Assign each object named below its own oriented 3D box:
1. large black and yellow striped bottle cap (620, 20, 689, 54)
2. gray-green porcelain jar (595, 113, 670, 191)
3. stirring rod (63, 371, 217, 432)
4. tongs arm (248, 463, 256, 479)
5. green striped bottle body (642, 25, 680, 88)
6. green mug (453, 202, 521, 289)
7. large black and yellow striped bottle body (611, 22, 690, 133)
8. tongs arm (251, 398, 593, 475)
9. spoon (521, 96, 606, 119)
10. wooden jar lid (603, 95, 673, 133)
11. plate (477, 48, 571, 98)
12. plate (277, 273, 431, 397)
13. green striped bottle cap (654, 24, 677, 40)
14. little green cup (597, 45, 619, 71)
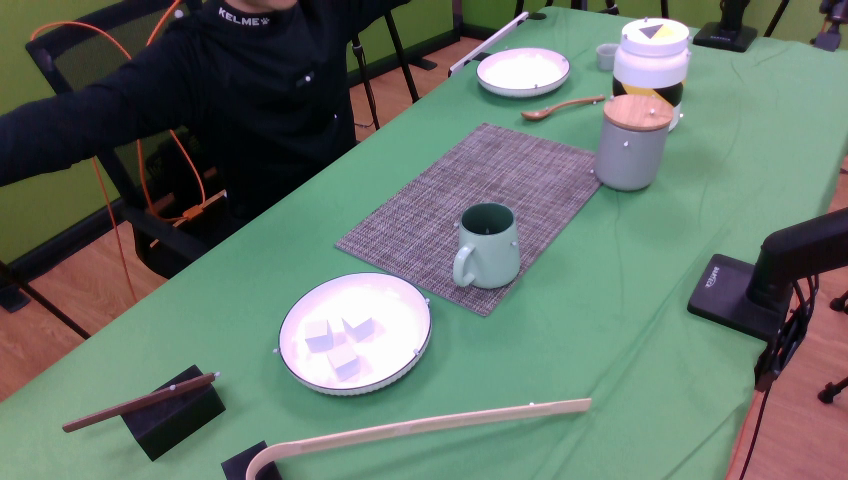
[{"bbox_3d":[0.411,-0.363,1.080,0.115,0.019,0.114,-4,42,4],"label":"large black and yellow striped bottle cap"},{"bbox_3d":[0.346,-0.155,1.017,0.106,0.127,0.105,-2,44,2],"label":"gray-green porcelain jar"},{"bbox_3d":[-0.337,0.192,0.723,0.177,0.014,0.005,-18,42,-12],"label":"stirring rod"},{"bbox_3d":[0.012,0.262,0.615,0.385,0.026,0.050,2,42,-2],"label":"tongs arm"},{"bbox_3d":[0.499,-0.387,1.271,0.063,0.120,0.063,-4,41,4],"label":"green striped bottle body"},{"bbox_3d":[0.084,0.019,0.867,0.092,0.105,0.125,23,49,30],"label":"green mug"},{"bbox_3d":[0.420,-0.300,1.132,0.131,0.185,0.130,-4,41,4],"label":"large black and yellow striped bottle body"},{"bbox_3d":[0.008,0.212,0.675,0.389,0.028,0.028,-5,46,-11],"label":"tongs arm"},{"bbox_3d":[0.291,-0.277,1.249,0.194,0.022,0.041,-18,23,-11],"label":"spoon"},{"bbox_3d":[0.343,-0.200,0.974,0.108,0.021,0.108,-2,39,2],"label":"wooden jar lid"},{"bbox_3d":[0.223,-0.371,1.357,0.209,0.038,0.208,-4,41,4],"label":"plate"},{"bbox_3d":[-0.092,0.129,0.821,0.207,0.039,0.206,-4,40,4],"label":"plate"},{"bbox_3d":[0.495,-0.426,1.237,0.044,0.020,0.044,-5,41,5],"label":"green striped bottle cap"},{"bbox_3d":[0.423,-0.413,1.376,0.061,0.039,0.061,-4,41,4],"label":"little green cup"}]
